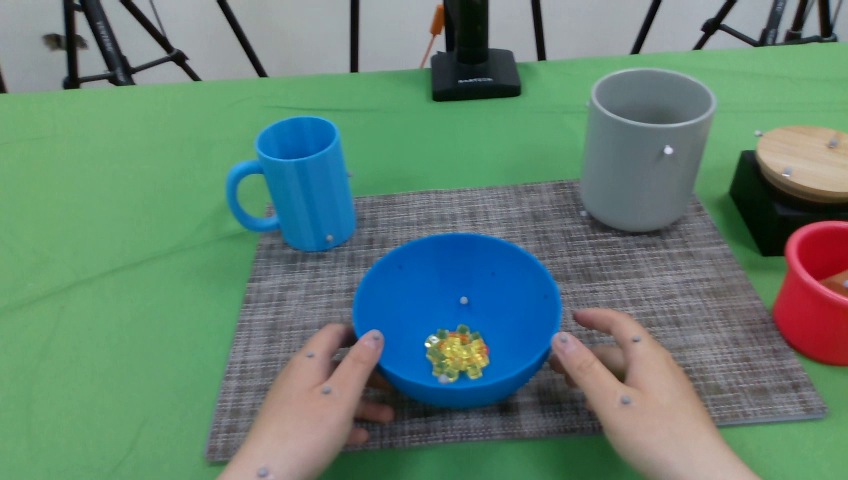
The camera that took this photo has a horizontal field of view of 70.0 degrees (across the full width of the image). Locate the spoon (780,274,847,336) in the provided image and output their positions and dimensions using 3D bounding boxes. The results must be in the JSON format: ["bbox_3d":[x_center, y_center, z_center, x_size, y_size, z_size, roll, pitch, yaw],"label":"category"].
[{"bbox_3d":[0.357,0.009,0.454,0.022,0.194,0.041,32,25,-28],"label":"spoon"}]

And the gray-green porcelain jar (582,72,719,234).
[{"bbox_3d":[0.207,-0.077,0.572,0.106,0.128,0.105,-3,42,3],"label":"gray-green porcelain jar"}]

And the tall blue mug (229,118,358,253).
[{"bbox_3d":[-0.119,-0.044,0.578,0.077,0.109,0.107,31,53,32],"label":"tall blue mug"}]

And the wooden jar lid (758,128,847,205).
[{"bbox_3d":[0.365,-0.067,0.557,0.108,0.021,0.107,-3,42,3],"label":"wooden jar lid"}]

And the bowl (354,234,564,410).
[{"bbox_3d":[0.027,0.073,0.457,0.151,0.077,0.150,-2,42,3],"label":"bowl"}]
